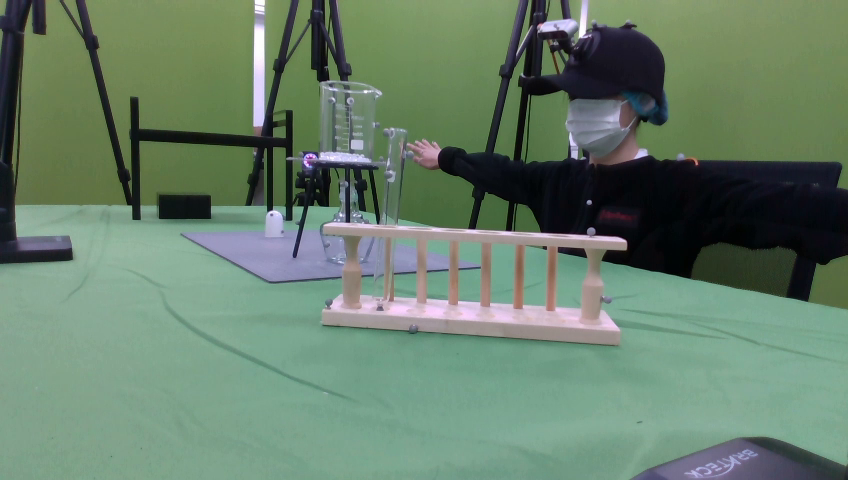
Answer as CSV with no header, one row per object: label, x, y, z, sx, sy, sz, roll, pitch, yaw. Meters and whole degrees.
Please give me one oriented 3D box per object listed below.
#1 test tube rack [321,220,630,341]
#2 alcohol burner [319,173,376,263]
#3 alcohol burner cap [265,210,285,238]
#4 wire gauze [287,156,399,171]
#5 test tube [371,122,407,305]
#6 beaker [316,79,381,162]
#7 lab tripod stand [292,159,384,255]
test tube rack,0.041,0.029,0.511,0.242,0.085,0.067,3,7,5
alcohol burner,-0.101,-0.030,0.804,0.078,0.119,0.078,0,6,0
alcohol burner cap,-0.253,-0.027,1.027,0.034,0.048,0.034,2,8,0
wire gauze,-0.101,-0.103,0.788,0.121,0.011,0.125,5,4,5
test tube,-0.029,-0.020,0.493,0.017,0.150,0.017,6,9,-1
beaker,-0.098,-0.151,0.778,0.084,0.100,0.074,4,7,6
lab tripod stand,-0.105,-0.039,0.797,0.148,0.131,0.148,2,5,0
